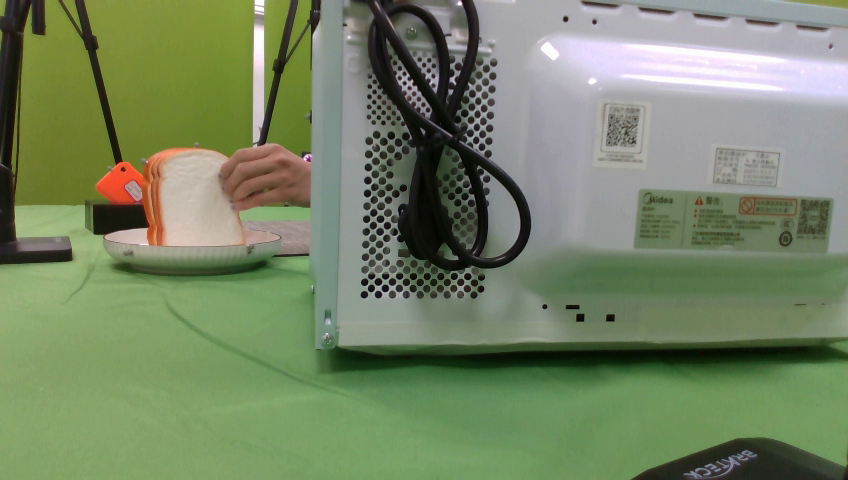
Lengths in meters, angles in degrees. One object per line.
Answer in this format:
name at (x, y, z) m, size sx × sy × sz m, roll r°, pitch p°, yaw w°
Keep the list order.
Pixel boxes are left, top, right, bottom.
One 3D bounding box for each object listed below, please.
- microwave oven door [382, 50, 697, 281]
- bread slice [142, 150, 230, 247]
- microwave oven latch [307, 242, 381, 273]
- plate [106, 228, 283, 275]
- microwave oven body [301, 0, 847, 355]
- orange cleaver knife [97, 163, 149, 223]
microwave oven door at (0.135, -0.077, 0.685) m, size 0.357 × 0.243 × 0.039 m, roll 1°, pitch 8°, yaw -12°
bread slice at (-0.308, -0.050, 0.789) m, size 0.018 × 0.134 × 0.107 m, roll 9°, pitch 13°, yaw 44°
microwave oven latch at (-0.086, 0.019, 0.656) m, size 0.079 × 0.029 × 0.030 m, roll 2°, pitch 7°, yaw -10°
plate at (-0.288, 0.013, 0.772) m, size 0.208 × 0.039 × 0.207 m, roll 2°, pitch 7°, yaw 0°
microwave oven body at (0.120, -0.053, 0.535) m, size 0.443 × 0.260 × 0.325 m, roll 2°, pitch 7°, yaw -11°
orange cleaver knife at (-0.472, -0.062, 1.087) m, size 0.212 × 0.077 × 0.012 m, roll 33°, pitch -14°, yaw -36°
